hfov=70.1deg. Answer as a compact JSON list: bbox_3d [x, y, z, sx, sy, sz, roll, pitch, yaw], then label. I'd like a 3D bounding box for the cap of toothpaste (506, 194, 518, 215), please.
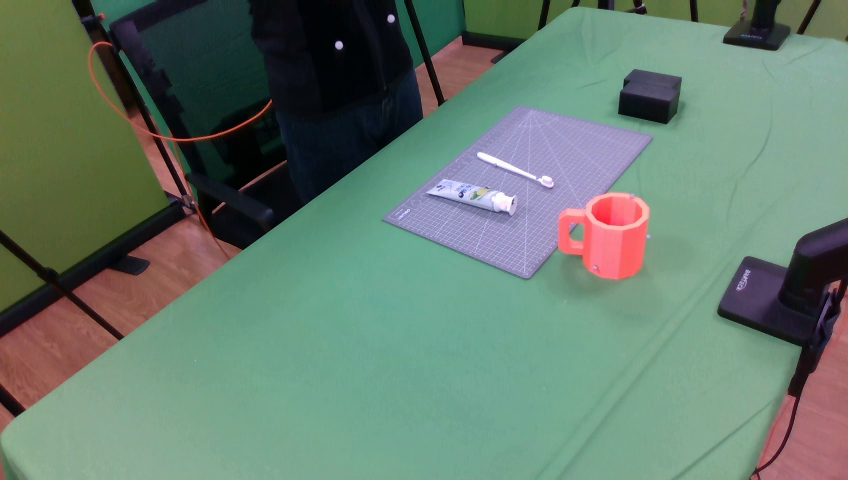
[{"bbox_3d":[0.146,-0.060,1.007,0.011,0.037,0.037,14,46,22],"label":"cap of toothpaste"}]

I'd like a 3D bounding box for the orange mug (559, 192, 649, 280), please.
[{"bbox_3d":[0.261,-0.008,0.884,0.126,0.101,0.083,9,43,14],"label":"orange mug"}]

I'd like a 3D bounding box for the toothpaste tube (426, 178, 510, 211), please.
[{"bbox_3d":[0.084,-0.081,1.054,0.164,0.034,0.055,18,40,34],"label":"toothpaste tube"}]

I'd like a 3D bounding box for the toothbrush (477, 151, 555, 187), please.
[{"bbox_3d":[0.164,-0.133,1.107,0.180,0.017,0.014,30,69,39],"label":"toothbrush"}]
